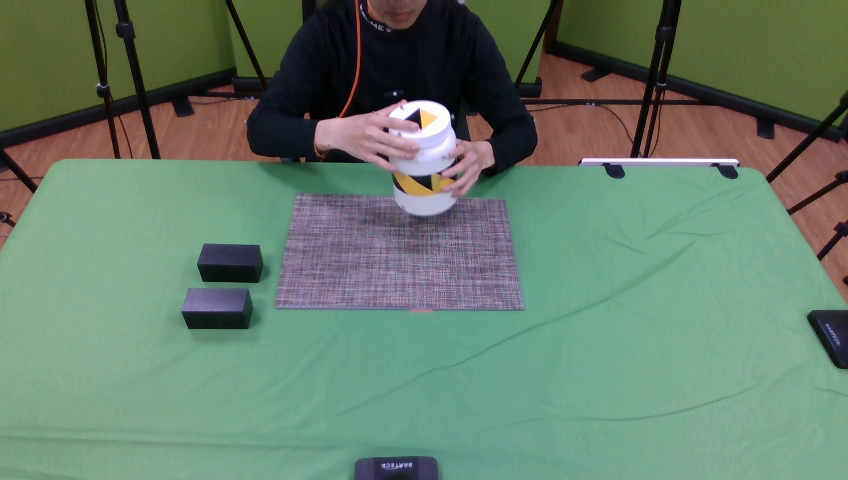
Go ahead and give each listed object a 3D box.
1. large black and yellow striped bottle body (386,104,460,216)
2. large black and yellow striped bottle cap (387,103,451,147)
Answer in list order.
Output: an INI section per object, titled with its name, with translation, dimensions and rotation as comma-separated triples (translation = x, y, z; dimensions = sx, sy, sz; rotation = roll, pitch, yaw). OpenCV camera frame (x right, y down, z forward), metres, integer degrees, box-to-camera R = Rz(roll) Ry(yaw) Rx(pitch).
[large black and yellow striped bottle body]
translation = -0.001, -0.151, 1.150
dimensions = 0.131, 0.185, 0.130
rotation = -3, 46, 4
[large black and yellow striped bottle cap]
translation = -0.009, -0.209, 1.092
dimensions = 0.115, 0.019, 0.114
rotation = -3, 46, 3
